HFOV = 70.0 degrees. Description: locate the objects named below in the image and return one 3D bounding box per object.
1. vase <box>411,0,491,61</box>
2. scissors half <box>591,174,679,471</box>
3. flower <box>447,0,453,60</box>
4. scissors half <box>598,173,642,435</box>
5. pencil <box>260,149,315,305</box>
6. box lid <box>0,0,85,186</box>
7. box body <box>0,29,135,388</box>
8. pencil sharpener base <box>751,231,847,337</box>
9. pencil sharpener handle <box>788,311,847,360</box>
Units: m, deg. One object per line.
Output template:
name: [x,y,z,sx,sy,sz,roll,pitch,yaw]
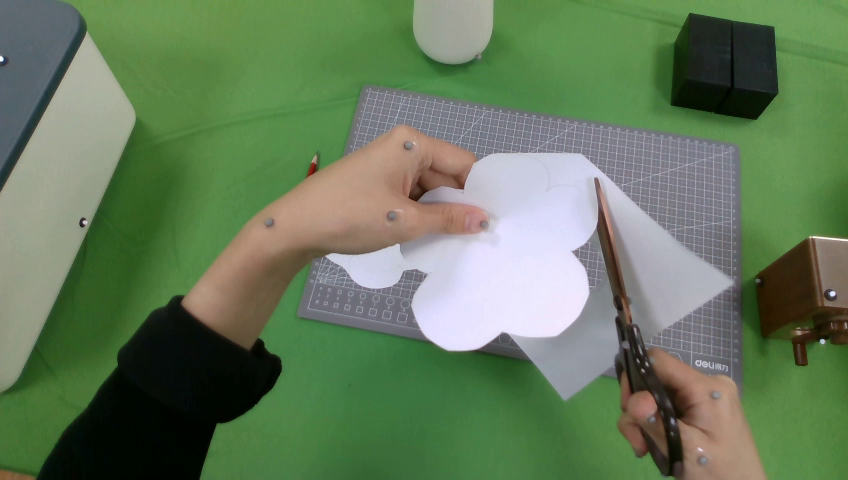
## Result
vase: [0.031,-0.297,0.678,0.098,0.201,0.097,0,65,1]
scissors half: [0.118,0.047,0.344,0.013,0.040,0.175,-14,89,0]
flower: [0.027,-0.343,0.607,0.044,0.365,0.038,3,49,5]
scissors half: [0.119,0.043,0.366,0.013,0.176,0.039,-13,23,5]
pencil: [-0.145,-0.020,0.661,0.012,0.012,0.193,11,66,5]
box lid: [-0.480,-0.085,0.520,0.263,0.015,0.369,10,67,4]
box body: [-0.480,-0.053,0.588,0.254,0.161,0.361,10,67,4]
pencil sharpener base: [0.372,0.048,0.583,0.061,0.108,0.076,6,67,2]
pencil sharpener handle: [0.363,0.089,0.552,0.036,0.068,0.030,12,66,-12]
